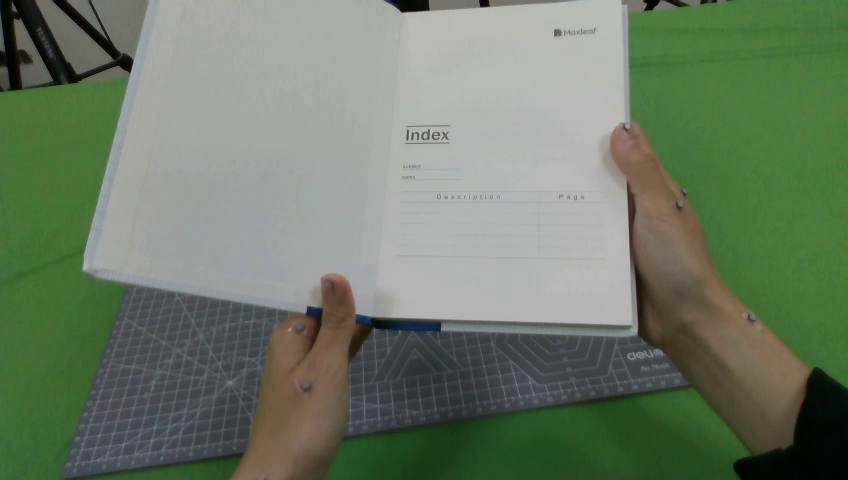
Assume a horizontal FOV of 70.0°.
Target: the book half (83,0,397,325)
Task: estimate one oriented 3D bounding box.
[{"bbox_3d":[-0.082,-0.067,0.327,0.144,0.007,0.209,15,71,-33],"label":"book half"}]
